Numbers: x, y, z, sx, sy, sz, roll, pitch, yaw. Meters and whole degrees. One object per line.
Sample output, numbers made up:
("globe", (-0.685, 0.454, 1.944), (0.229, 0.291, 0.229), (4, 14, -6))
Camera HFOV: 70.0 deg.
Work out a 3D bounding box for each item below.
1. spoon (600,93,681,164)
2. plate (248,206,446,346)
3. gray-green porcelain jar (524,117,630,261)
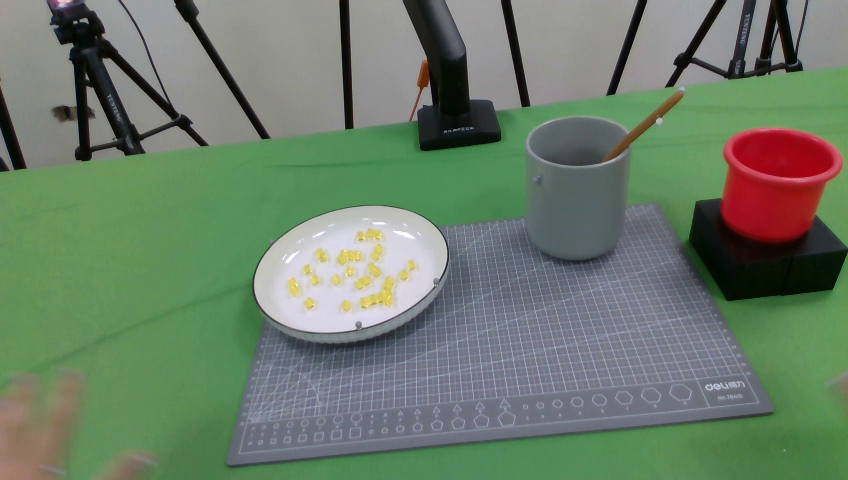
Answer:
("spoon", (0.182, -0.074, 0.599), (0.021, 0.194, 0.041), (46, 48, 14))
("plate", (-0.079, 0.039, 0.647), (0.207, 0.039, 0.205), (-5, 38, 4))
("gray-green porcelain jar", (0.159, -0.050, 0.642), (0.106, 0.128, 0.105), (-5, 38, 5))
